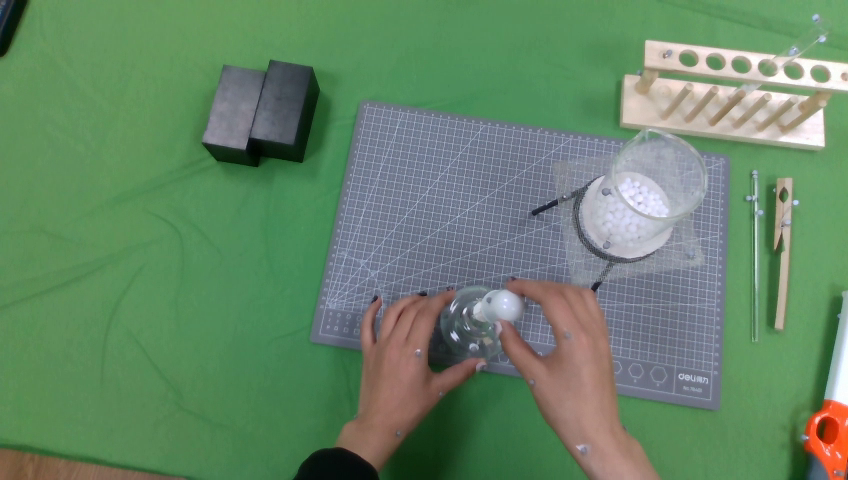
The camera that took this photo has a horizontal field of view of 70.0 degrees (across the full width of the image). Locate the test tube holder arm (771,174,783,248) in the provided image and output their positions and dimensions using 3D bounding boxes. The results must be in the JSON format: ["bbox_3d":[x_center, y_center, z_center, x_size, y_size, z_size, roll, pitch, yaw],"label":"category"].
[{"bbox_3d":[0.411,-0.034,0.705,0.010,0.015,0.087,1,74,34],"label":"test tube holder arm"}]

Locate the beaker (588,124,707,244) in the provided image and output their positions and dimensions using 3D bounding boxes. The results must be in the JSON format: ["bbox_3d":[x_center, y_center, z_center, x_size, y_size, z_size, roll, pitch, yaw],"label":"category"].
[{"bbox_3d":[0.185,-0.043,0.523,0.074,0.101,0.083,-6,75,0],"label":"beaker"}]

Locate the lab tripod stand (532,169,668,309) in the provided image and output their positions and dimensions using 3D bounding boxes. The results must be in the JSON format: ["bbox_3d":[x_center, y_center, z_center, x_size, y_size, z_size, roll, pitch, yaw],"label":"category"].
[{"bbox_3d":[0.181,-0.010,0.632,0.148,0.132,0.147,0,76,1],"label":"lab tripod stand"}]

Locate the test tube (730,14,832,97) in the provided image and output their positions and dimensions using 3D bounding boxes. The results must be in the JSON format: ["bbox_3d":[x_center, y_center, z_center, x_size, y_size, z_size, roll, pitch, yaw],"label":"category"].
[{"bbox_3d":[0.382,-0.195,0.659,0.017,0.150,0.017,2,75,-6],"label":"test tube"}]

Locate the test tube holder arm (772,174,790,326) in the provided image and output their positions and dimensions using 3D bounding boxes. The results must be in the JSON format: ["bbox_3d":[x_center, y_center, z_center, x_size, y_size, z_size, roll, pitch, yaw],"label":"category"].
[{"bbox_3d":[0.408,0.009,0.691,0.013,0.015,0.177,1,74,34],"label":"test tube holder arm"}]

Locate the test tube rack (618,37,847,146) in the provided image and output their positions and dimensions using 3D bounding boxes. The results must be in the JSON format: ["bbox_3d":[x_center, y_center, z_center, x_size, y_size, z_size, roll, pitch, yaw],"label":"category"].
[{"bbox_3d":[0.360,-0.170,0.704,0.242,0.085,0.066,7,75,1],"label":"test tube rack"}]

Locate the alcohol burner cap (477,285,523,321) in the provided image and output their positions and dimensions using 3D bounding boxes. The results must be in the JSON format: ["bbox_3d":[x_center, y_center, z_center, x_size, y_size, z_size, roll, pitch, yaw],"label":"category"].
[{"bbox_3d":[0.068,0.053,0.527,0.034,0.048,0.033,2,80,-10],"label":"alcohol burner cap"}]

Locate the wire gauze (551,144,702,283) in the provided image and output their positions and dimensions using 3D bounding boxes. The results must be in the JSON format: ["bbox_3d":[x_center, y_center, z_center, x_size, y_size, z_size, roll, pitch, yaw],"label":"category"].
[{"bbox_3d":[0.187,-0.028,0.569,0.121,0.011,0.124,-7,77,1],"label":"wire gauze"}]

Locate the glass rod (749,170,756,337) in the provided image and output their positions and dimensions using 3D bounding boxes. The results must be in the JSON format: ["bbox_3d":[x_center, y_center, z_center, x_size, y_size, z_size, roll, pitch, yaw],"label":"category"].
[{"bbox_3d":[0.377,0.012,0.696,0.008,0.008,0.198,8,75,1],"label":"glass rod"}]

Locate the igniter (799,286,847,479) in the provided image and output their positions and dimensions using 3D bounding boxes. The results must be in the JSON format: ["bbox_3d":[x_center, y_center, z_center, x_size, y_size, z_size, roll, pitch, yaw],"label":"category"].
[{"bbox_3d":[0.436,0.179,0.645,0.057,0.025,0.275,23,76,-5],"label":"igniter"}]

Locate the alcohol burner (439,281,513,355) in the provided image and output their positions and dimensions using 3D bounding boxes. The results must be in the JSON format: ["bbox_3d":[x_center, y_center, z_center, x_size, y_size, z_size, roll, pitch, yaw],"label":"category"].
[{"bbox_3d":[0.054,0.077,0.619,0.078,0.119,0.077,0,73,0],"label":"alcohol burner"}]
